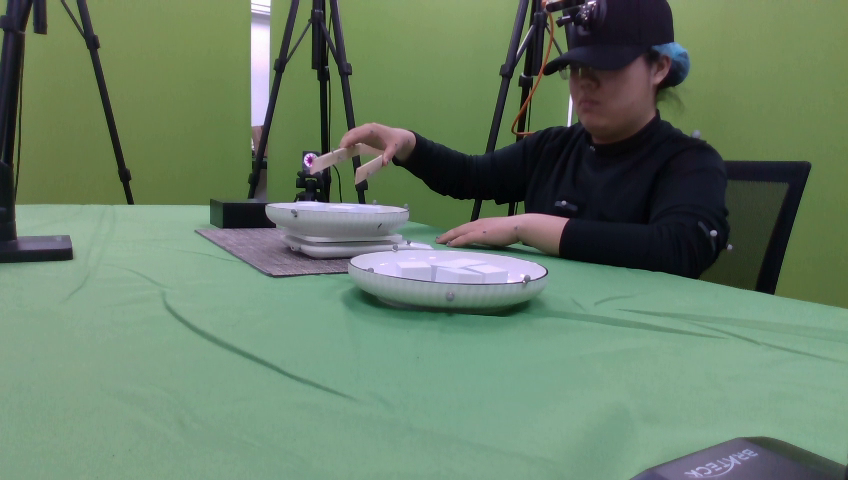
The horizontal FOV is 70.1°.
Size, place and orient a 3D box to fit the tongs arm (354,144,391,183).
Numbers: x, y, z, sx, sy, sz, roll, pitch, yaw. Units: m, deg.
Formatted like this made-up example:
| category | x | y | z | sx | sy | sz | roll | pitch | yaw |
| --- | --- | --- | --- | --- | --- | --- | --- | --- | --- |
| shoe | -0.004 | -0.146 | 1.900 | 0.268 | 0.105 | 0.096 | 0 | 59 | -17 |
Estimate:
| category | x | y | z | sx | sy | sz | roll | pitch | yaw |
| --- | --- | --- | --- | --- | --- | --- | --- | --- | --- |
| tongs arm | -0.091 | -0.143 | 1.095 | 0.028 | 0.028 | 0.387 | 7 | 14 | 2 |

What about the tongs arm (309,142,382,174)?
| category | x | y | z | sx | sy | sz | roll | pitch | yaw |
| --- | --- | --- | --- | --- | --- | --- | --- | --- | --- |
| tongs arm | -0.131 | -0.152 | 1.097 | 0.051 | 0.026 | 0.385 | 10 | 14 | 3 |

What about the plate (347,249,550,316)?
| category | x | y | z | sx | sy | sz | roll | pitch | yaw |
| --- | --- | --- | --- | --- | --- | --- | --- | --- | --- |
| plate | 0.025 | 0.042 | 0.627 | 0.209 | 0.038 | 0.209 | 2 | 7 | 0 |

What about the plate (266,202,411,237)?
| category | x | y | z | sx | sy | sz | roll | pitch | yaw |
| --- | --- | --- | --- | --- | --- | --- | --- | --- | --- |
| plate | -0.123 | -0.030 | 0.879 | 0.208 | 0.039 | 0.207 | 2 | 6 | 0 |

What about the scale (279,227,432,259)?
| category | x | y | z | sx | sy | sz | roll | pitch | yaw |
| --- | --- | --- | --- | --- | --- | --- | --- | --- | --- |
| scale | -0.100 | 0.001 | 0.899 | 0.202 | 0.031 | 0.148 | -1 | 9 | -31 |
